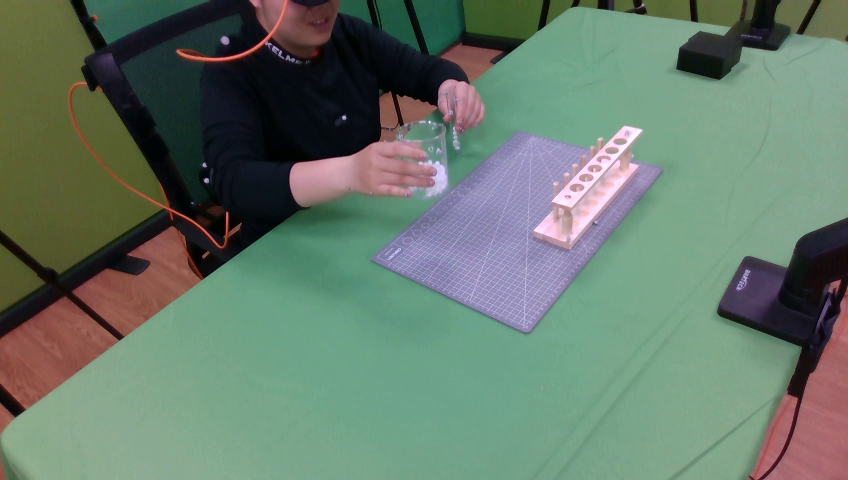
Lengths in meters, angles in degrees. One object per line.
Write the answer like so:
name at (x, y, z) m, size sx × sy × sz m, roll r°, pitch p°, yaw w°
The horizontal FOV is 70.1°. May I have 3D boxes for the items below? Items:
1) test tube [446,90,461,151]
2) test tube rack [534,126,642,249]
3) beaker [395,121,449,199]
test tube at (0.055, -0.215, 1.109) m, size 0.017 × 0.151 × 0.017 m, roll -4°, pitch 57°, yaw 6°
test tube rack at (0.271, -0.095, 0.990) m, size 0.066 × 0.085 × 0.243 m, roll 23°, pitch 49°, yaw 33°
beaker at (0.002, -0.120, 0.912) m, size 0.073 × 0.100 × 0.084 m, roll 15°, pitch 39°, yaw 28°
